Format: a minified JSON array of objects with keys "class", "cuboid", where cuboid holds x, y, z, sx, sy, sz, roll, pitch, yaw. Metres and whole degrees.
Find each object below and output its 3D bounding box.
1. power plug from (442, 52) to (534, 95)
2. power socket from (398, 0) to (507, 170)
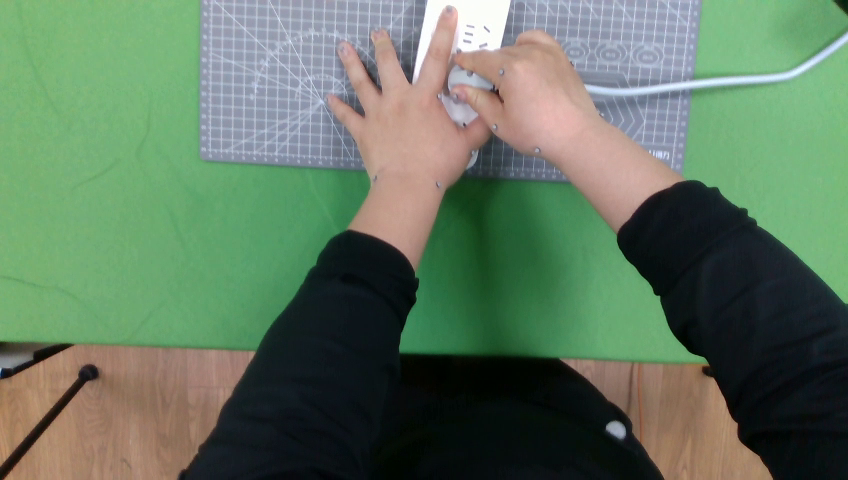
[{"class":"power plug","cuboid":[0.050,-0.135,0.520,0.073,0.052,0.035,23,94,-6]},{"class":"power socket","cuboid":[0.029,-0.175,0.535,0.072,0.032,0.227,11,98,-4]}]
